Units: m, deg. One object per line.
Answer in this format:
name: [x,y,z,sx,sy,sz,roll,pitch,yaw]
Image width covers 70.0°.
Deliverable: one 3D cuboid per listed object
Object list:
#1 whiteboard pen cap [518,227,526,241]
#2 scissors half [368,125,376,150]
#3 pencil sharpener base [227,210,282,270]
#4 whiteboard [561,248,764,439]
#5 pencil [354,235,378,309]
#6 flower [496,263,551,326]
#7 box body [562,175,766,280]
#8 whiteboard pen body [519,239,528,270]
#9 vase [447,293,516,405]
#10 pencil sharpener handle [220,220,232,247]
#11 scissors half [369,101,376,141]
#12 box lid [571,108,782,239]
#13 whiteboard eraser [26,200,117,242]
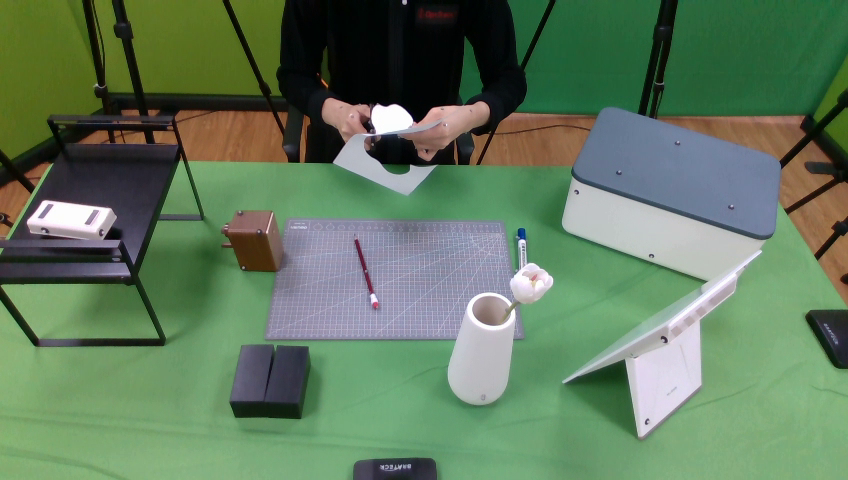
whiteboard pen cap: [0.197,-0.009,1.220,0.018,0.018,0.033,5,50,1]
scissors half: [-0.088,-0.180,1.044,0.013,0.040,0.175,1,3,-6]
pencil sharpener base: [-0.311,0.001,1.112,0.077,0.107,0.061,1,47,1]
whiteboard: [0.386,0.176,0.905,0.217,0.306,0.143,-26,72,-27]
pencil: [-0.112,0.055,1.143,0.012,0.012,0.192,-10,46,-13]
flower: [0.102,0.121,0.853,0.044,0.363,0.038,-2,64,-10]
box body: [0.486,-0.088,1.222,0.363,0.161,0.253,20,48,15]
whiteboard pen body: [0.193,0.035,1.180,0.017,0.017,0.140,6,48,1]
vase: [0.091,0.169,0.921,0.098,0.201,0.097,3,47,-3]
pencil sharpener handle: [-0.362,-0.009,1.105,0.030,0.068,0.036,1,53,1]
scissors half: [-0.088,-0.202,1.038,0.013,0.040,0.174,-4,30,-5]
box lid: [0.491,-0.139,1.168,0.370,0.015,0.262,21,49,15]
whiteboard eraser: [-0.532,-0.026,0.919,0.113,0.042,0.055,7,45,3]
